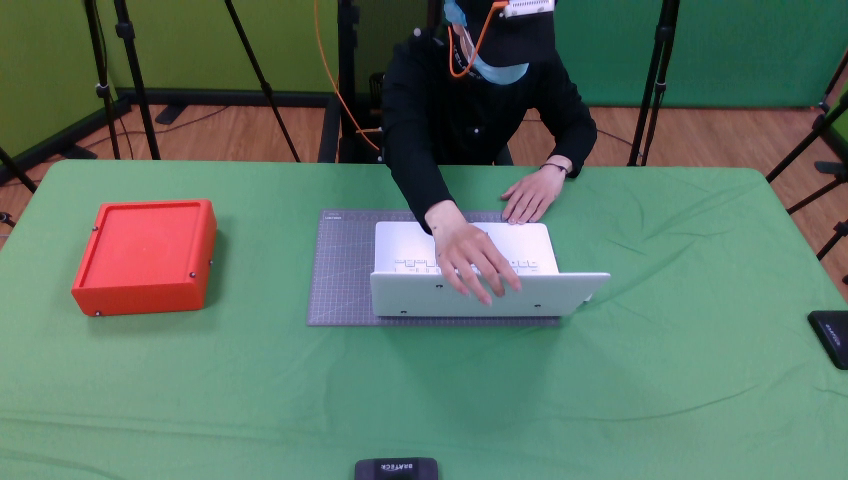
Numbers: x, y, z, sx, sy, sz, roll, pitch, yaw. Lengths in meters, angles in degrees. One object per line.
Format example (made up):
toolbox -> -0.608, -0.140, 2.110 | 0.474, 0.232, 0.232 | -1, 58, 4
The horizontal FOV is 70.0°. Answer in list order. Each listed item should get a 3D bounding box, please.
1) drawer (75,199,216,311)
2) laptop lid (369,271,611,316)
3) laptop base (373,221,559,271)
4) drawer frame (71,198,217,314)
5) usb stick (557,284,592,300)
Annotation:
drawer -> -0.494, 0.023, 1.098 | 0.195, 0.073, 0.210 | -2, 47, -8
laptop lid -> 0.091, 0.090, 0.968 | 0.357, 0.242, 0.013 | 1, 68, -5
laptop base -> 0.080, 0.049, 1.158 | 0.355, 0.023, 0.234 | 0, 43, -4
drawer frame -> -0.493, 0.024, 1.096 | 0.202, 0.083, 0.212 | -3, 47, -8
usb stick -> 0.276, 0.096, 1.113 | 0.059, 0.027, 0.021 | -1, 46, -5
